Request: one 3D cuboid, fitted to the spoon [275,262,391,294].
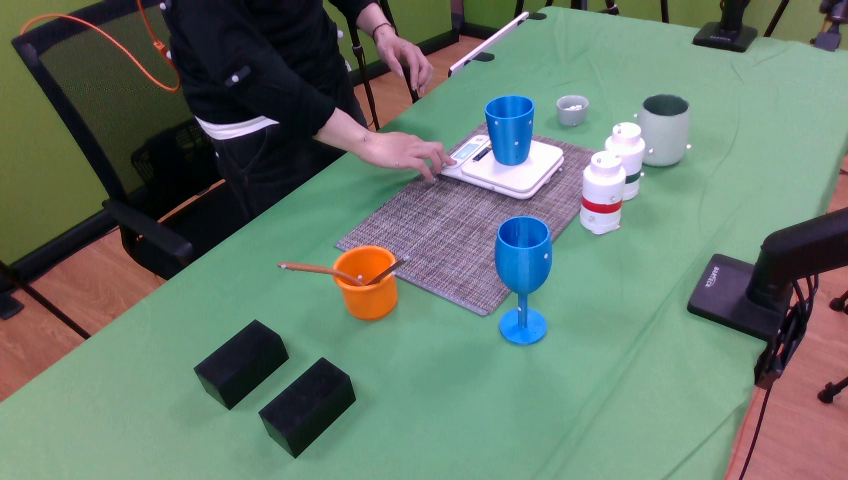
[{"bbox_3d":[-0.120,0.050,0.830,0.041,0.195,0.021,31,97,45],"label":"spoon"}]

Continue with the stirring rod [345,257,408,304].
[{"bbox_3d":[-0.067,0.057,0.815,0.014,0.175,0.006,-25,82,-38],"label":"stirring rod"}]

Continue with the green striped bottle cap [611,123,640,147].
[{"bbox_3d":[0.322,-0.168,0.963,0.044,0.020,0.044,-3,41,3],"label":"green striped bottle cap"}]

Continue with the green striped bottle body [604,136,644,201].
[{"bbox_3d":[0.326,-0.128,0.997,0.063,0.120,0.063,-4,41,4],"label":"green striped bottle body"}]

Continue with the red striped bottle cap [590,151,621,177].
[{"bbox_3d":[0.273,-0.115,0.908,0.044,0.018,0.044,-4,44,4],"label":"red striped bottle cap"}]

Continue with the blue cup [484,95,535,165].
[{"bbox_3d":[0.150,-0.188,1.052,0.092,0.100,0.092,-6,39,5],"label":"blue cup"}]

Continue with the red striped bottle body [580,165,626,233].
[{"bbox_3d":[0.278,-0.075,0.942,0.063,0.120,0.062,-4,41,4],"label":"red striped bottle body"}]

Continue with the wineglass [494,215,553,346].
[{"bbox_3d":[0.127,0.055,0.770,0.074,0.173,0.073,-4,40,4],"label":"wineglass"}]

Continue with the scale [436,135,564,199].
[{"bbox_3d":[0.137,-0.142,1.101,0.199,0.032,0.149,22,48,30],"label":"scale"}]

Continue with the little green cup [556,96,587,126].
[{"bbox_3d":[0.295,-0.258,1.214,0.061,0.039,0.061,-4,41,4],"label":"little green cup"}]

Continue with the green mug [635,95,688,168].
[{"bbox_3d":[0.421,-0.201,1.081,0.092,0.105,0.125,5,42,15],"label":"green mug"}]
